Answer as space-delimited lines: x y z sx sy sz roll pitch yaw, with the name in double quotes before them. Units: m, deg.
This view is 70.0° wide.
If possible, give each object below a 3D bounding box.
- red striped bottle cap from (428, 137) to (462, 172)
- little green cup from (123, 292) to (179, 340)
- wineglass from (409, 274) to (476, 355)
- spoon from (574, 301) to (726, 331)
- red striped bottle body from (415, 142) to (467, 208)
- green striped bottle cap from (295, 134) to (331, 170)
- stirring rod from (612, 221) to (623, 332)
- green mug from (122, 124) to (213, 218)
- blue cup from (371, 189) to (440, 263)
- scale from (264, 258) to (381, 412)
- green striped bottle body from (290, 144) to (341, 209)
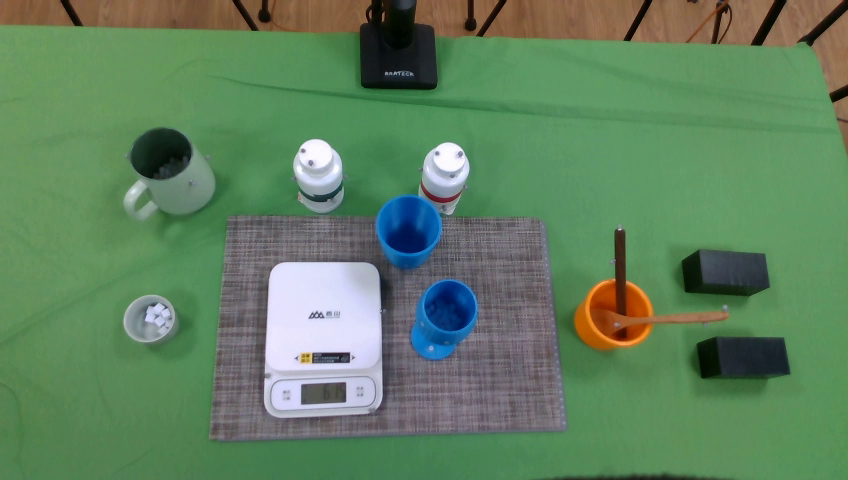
"red striped bottle cap" 0.028 -0.112 0.792 0.044 0.018 0.044 2 69 -5
"little green cup" -0.347 0.100 0.778 0.061 0.039 0.061 2 71 -6
"wineglass" 0.018 0.096 0.744 0.074 0.173 0.073 2 70 -5
"spoon" 0.289 0.096 0.791 0.022 0.193 0.041 12 73 -48
"red striped bottle body" 0.023 -0.095 0.842 0.063 0.120 0.062 2 71 -6
"green striped bottle cap" -0.141 -0.112 0.770 0.044 0.020 0.044 2 70 -4
"stirring rod" 0.256 0.053 0.800 0.014 0.177 0.006 6 35 27
"green mug" -0.347 -0.082 0.805 0.092 0.105 0.125 33 71 6
"blue cup" -0.025 -0.011 0.815 0.093 0.100 0.092 1 73 -5
"scale" -0.132 0.120 0.794 0.149 0.032 0.199 -1 72 -6
"green striped bottle body" -0.146 -0.092 0.823 0.063 0.120 0.063 2 71 -5
